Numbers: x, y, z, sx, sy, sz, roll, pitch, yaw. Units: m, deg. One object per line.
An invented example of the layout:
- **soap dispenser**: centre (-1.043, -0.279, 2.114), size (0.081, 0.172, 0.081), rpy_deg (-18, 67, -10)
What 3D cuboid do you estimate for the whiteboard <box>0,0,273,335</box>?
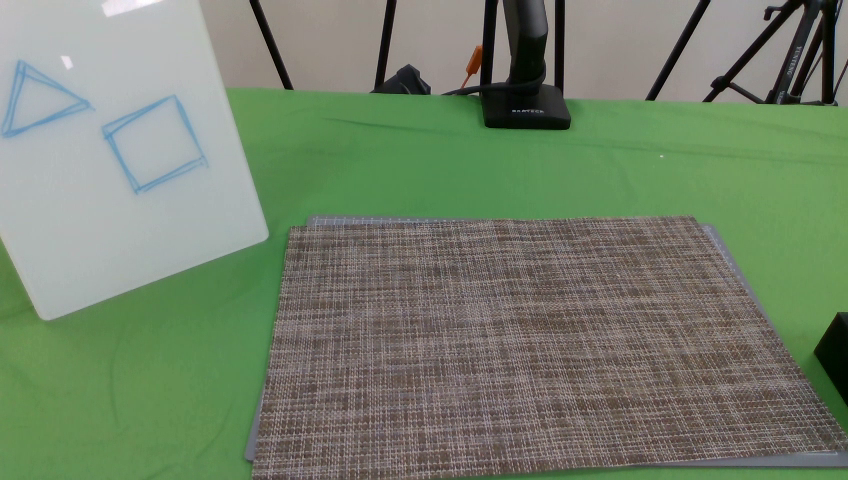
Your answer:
- **whiteboard**: centre (-0.308, -0.108, 0.579), size (0.217, 0.307, 0.142), rpy_deg (-23, 25, -27)
